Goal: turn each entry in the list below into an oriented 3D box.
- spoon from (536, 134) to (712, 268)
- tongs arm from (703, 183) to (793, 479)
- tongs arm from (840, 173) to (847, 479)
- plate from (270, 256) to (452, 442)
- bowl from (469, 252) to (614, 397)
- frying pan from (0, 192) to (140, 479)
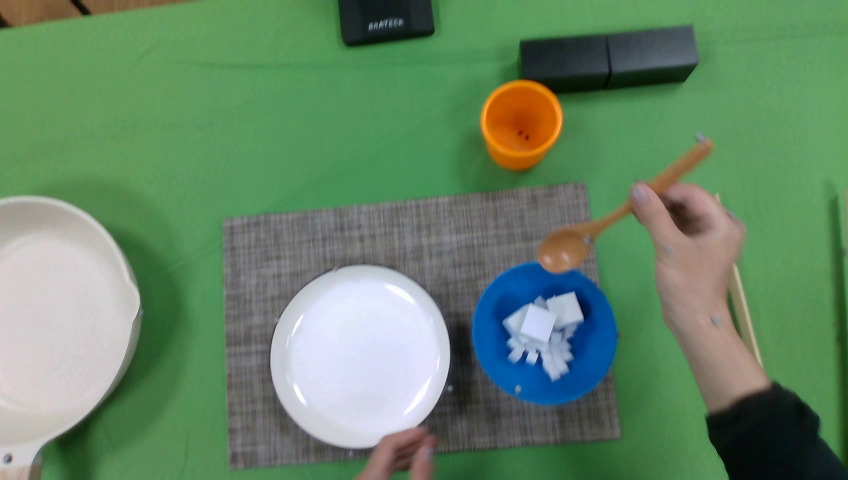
[{"bbox_3d":[0.166,-0.028,0.523,0.042,0.194,0.021,40,48,-7],"label":"spoon"},{"bbox_3d":[0.372,0.121,0.675,0.028,0.028,0.386,-12,80,1],"label":"tongs arm"},{"bbox_3d":[0.452,0.115,0.665,0.051,0.026,0.383,1,82,6],"label":"tongs arm"},{"bbox_3d":[-0.070,0.123,0.697,0.207,0.039,0.207,-1,81,4],"label":"plate"},{"bbox_3d":[0.125,0.092,0.666,0.151,0.077,0.151,-1,81,5],"label":"bowl"},{"bbox_3d":[-0.458,0.189,0.684,0.307,0.103,0.484,-8,72,4],"label":"frying pan"}]
